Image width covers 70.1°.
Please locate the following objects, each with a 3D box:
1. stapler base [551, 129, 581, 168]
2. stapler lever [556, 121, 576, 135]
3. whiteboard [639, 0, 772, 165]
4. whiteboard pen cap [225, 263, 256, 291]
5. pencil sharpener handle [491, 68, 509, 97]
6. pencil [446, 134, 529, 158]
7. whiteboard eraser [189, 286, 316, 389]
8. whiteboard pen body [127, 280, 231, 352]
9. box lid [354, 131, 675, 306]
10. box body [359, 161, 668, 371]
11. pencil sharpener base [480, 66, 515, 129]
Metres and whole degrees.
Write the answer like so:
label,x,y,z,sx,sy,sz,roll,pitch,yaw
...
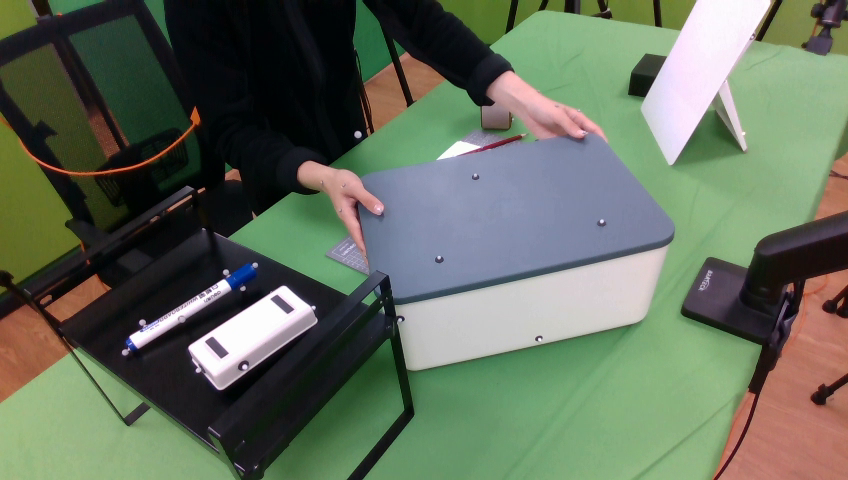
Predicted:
label,x,y,z,sx,sy,sz,roll,pitch,yaw
stapler base,0.268,-0.178,1.142,0.041,0.024,0.130,1,37,2
stapler lever,0.267,-0.199,1.128,0.027,0.040,0.117,1,38,3
whiteboard,0.543,-0.298,1.076,0.144,0.305,0.216,12,40,-7
whiteboard pen cap,-0.204,0.041,0.668,0.033,0.018,0.018,-36,48,-22
pencil sharpener handle,0.156,-0.333,1.258,0.036,0.068,0.030,13,43,3
pencil,0.123,-0.180,1.175,0.195,0.012,0.012,-20,42,-17
whiteboard eraser,-0.166,0.096,0.593,0.113,0.042,0.055,-36,47,-29
whiteboard pen body,-0.248,0.072,0.645,0.141,0.017,0.017,-35,47,-23
box lid,0.102,-0.042,0.785,0.372,0.015,0.261,-12,41,-5
box body,0.108,0.013,0.833,0.365,0.161,0.252,-12,41,-5
pencil sharpener base,0.151,-0.290,1.228,0.061,0.107,0.076,3,41,13
